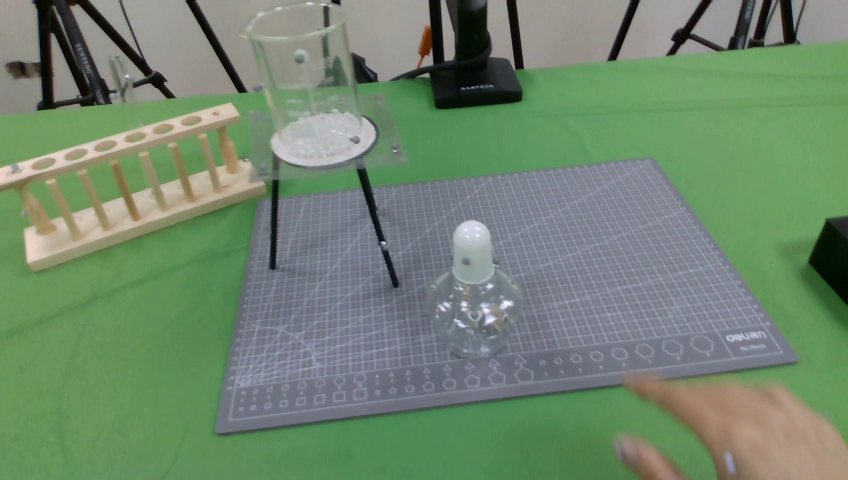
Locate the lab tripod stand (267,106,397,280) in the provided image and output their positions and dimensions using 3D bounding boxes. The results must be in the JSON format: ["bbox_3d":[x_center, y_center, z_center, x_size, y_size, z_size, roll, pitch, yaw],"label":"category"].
[{"bbox_3d":[-0.084,-0.041,0.550,0.148,0.133,0.147,-3,42,3],"label":"lab tripod stand"}]

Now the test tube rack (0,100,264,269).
[{"bbox_3d":[-0.303,-0.063,0.636,0.243,0.086,0.066,-23,44,-21],"label":"test tube rack"}]

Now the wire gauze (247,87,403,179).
[{"bbox_3d":[-0.088,-0.090,0.507,0.125,0.011,0.120,-12,39,-5],"label":"wire gauze"}]

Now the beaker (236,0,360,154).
[{"bbox_3d":[-0.093,-0.125,0.473,0.084,0.101,0.073,-5,40,1],"label":"beaker"}]

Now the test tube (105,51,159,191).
[{"bbox_3d":[-0.298,-0.117,0.622,0.017,0.151,0.017,0,34,0],"label":"test tube"}]

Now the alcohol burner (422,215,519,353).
[{"bbox_3d":[0.036,0.031,0.471,0.078,0.120,0.077,-2,39,2],"label":"alcohol burner"}]

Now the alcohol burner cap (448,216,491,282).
[{"bbox_3d":[0.033,0.004,0.448,0.034,0.048,0.033,-3,43,3],"label":"alcohol burner cap"}]
